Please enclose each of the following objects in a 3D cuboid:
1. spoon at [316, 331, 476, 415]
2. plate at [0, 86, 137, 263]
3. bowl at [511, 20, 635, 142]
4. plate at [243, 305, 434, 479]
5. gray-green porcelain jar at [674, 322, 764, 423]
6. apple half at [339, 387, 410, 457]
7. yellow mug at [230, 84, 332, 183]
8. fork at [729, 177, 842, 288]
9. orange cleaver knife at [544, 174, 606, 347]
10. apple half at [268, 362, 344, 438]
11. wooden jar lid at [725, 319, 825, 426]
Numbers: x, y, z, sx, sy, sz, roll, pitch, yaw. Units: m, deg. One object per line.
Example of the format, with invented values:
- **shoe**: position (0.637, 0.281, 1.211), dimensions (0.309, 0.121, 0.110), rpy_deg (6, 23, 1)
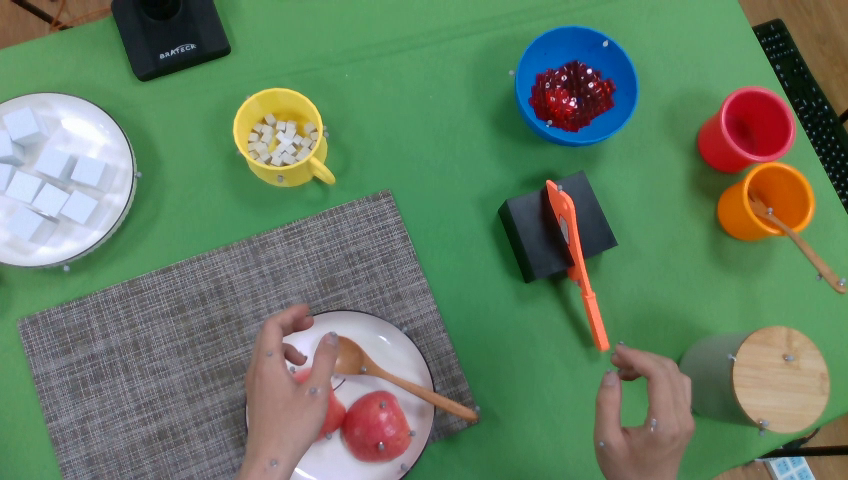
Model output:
- **spoon**: position (-0.033, 0.153, 0.677), dimensions (0.193, 0.022, 0.041), rpy_deg (23, 72, 11)
- **plate**: position (-0.436, -0.074, 0.699), dimensions (0.208, 0.039, 0.207), rpy_deg (1, 80, -5)
- **bowl**: position (0.175, -0.185, 0.756), dimensions (0.151, 0.077, 0.151), rpy_deg (1, 80, -5)
- **plate**: position (-0.094, 0.178, 0.681), dimensions (0.209, 0.038, 0.208), rpy_deg (1, 79, -5)
- **gray-green porcelain jar**: position (0.356, 0.149, 0.687), dimensions (0.106, 0.127, 0.105), rpy_deg (1, 79, -5)
- **apple half**: position (-0.056, 0.205, 0.673), dimensions (0.081, 0.033, 0.081), rpy_deg (1, 76, -4)
- **yellow mug**: position (-0.160, -0.115, 0.718), dimensions (0.131, 0.064, 0.100), rpy_deg (40, 78, 2)
- **fork**: position (0.419, -0.016, 0.711), dimensions (0.028, 0.019, 0.205), rpy_deg (-3, 36, -8)
- **orange cleaver knife**: position (0.177, 0.025, 0.715), dimensions (0.012, 0.076, 0.212), rpy_deg (-19, 105, -5)
- **apple half**: position (-0.132, 0.177, 0.662), dimensions (0.075, 0.053, 0.080), rpy_deg (-24, 82, -6)
- **wooden jar lid**: position (0.360, 0.136, 0.627), dimensions (0.108, 0.021, 0.108), rpy_deg (1, 81, -6)
